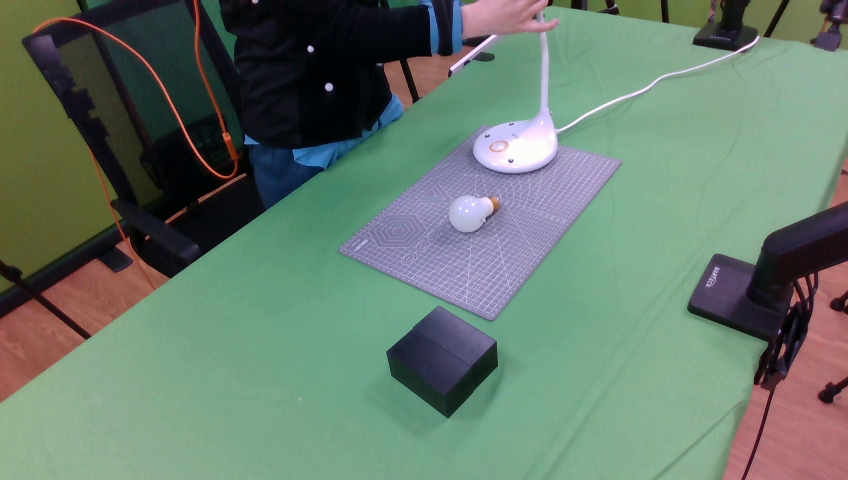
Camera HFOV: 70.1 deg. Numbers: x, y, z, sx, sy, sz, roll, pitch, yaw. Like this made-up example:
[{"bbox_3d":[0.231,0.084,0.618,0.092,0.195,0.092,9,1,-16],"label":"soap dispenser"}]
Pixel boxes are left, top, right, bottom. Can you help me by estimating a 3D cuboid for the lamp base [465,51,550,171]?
[{"bbox_3d":[0.159,-0.243,1.103,0.180,0.181,0.159,-31,46,-29],"label":"lamp base"}]
